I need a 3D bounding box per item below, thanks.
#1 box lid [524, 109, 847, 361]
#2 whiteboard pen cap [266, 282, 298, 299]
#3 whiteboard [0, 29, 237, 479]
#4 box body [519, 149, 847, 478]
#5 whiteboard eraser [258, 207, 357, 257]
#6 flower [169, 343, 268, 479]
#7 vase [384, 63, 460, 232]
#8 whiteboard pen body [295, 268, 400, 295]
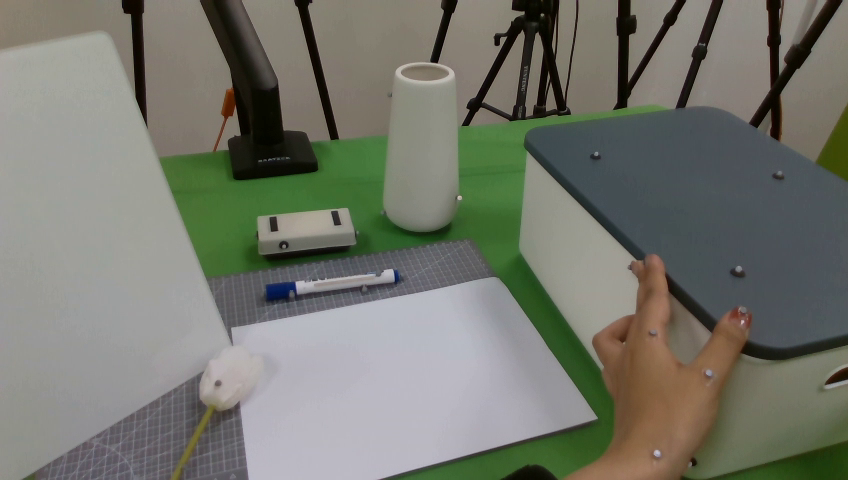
[{"bbox_3d":[0.277,-0.037,0.555,0.264,0.015,0.367,-9,35,-15],"label":"box lid"},{"bbox_3d":[-0.153,0.054,0.653,0.033,0.018,0.018,-4,36,-15],"label":"whiteboard pen cap"},{"bbox_3d":[-0.330,0.008,0.508,0.143,0.307,0.217,10,32,45],"label":"whiteboard"},{"bbox_3d":[0.274,0.028,0.602,0.255,0.162,0.360,-8,37,-14],"label":"box body"},{"bbox_3d":[-0.141,-0.008,0.726,0.113,0.042,0.055,-8,34,-14],"label":"whiteboard eraser"},{"bbox_3d":[-0.203,0.214,0.427,0.044,0.038,0.359,14,41,6],"label":"flower"},{"bbox_3d":[0.001,-0.109,0.743,0.098,0.201,0.097,3,35,-2],"label":"vase"},{"bbox_3d":[-0.096,0.047,0.667,0.141,0.017,0.017,-7,36,-13],"label":"whiteboard pen body"}]
